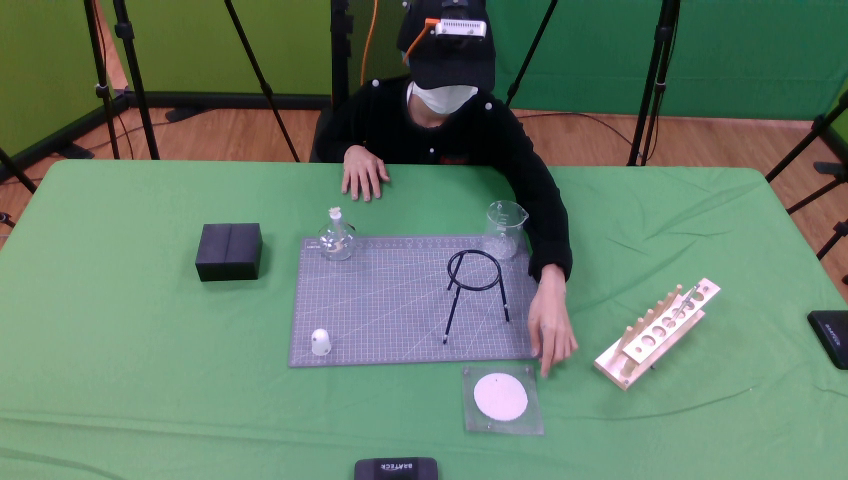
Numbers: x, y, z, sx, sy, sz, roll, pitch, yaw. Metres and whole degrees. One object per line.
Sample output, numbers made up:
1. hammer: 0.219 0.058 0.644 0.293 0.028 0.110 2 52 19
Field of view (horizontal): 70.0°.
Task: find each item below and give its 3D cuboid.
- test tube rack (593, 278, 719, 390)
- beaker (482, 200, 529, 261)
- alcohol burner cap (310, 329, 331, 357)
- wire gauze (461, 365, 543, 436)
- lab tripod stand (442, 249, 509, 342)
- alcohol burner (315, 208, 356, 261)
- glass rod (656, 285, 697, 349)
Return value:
1. test tube rack: 0.401 0.148 1.043 0.242 0.085 0.066 -30 55 -29
2. beaker: 0.153 -0.015 1.169 0.084 0.101 0.073 -2 46 -7
3. alcohol burner cap: -0.173 0.168 1.005 0.034 0.048 0.033 2 46 -2
4. wire gauze: 0.124 0.254 0.973 0.125 0.011 0.120 3 47 -3
5. lab tripod stand: 0.082 0.091 1.036 0.148 0.132 0.147 3 44 -3
6. alcohol burner: -0.166 -0.017 1.135 0.078 0.119 0.077 2 48 -2
7. glass rod: 0.401 0.128 0.971 0.008 0.201 0.008 0 53 1
